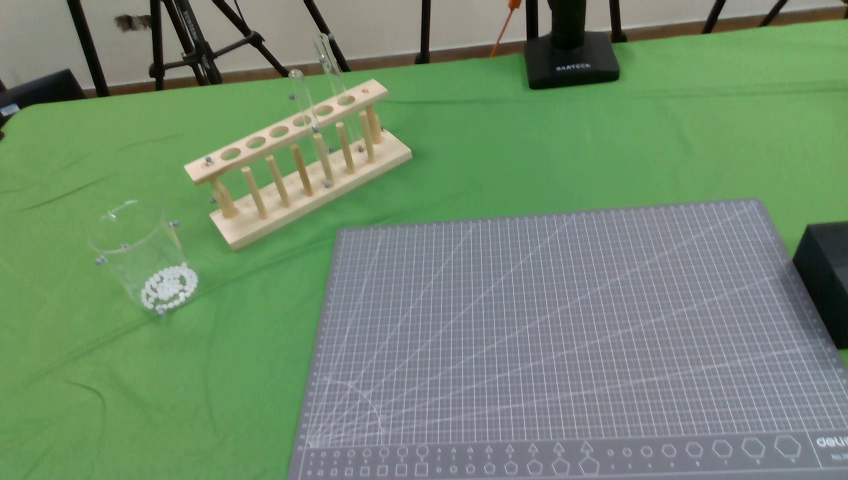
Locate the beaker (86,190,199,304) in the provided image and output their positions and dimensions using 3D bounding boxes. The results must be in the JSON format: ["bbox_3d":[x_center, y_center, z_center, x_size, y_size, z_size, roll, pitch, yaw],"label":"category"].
[{"bbox_3d":[-0.281,0.009,0.615,0.083,0.101,0.074,28,57,32],"label":"beaker"}]

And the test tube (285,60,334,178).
[{"bbox_3d":[-0.124,-0.129,0.665,0.017,0.152,0.017,-5,46,6],"label":"test tube"}]

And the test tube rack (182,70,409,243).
[{"bbox_3d":[-0.141,-0.101,0.704,0.242,0.086,0.066,-31,50,-18],"label":"test tube rack"}]

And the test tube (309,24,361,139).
[{"bbox_3d":[-0.101,-0.178,0.701,0.017,0.152,0.017,-8,47,9],"label":"test tube"}]
